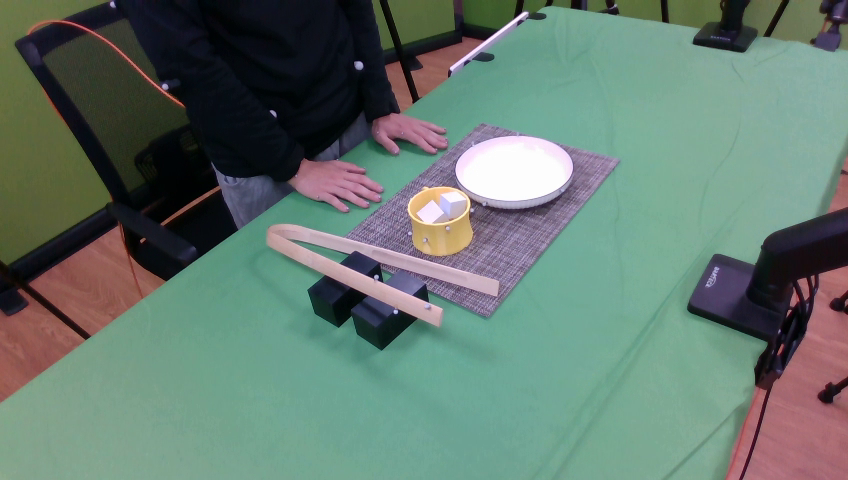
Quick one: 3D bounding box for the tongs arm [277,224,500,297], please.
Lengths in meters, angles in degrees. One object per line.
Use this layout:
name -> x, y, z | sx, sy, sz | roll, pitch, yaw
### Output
tongs arm -> -0.065, 0.028, 0.932 | 0.385, 0.028, 0.028 | 14, 23, 22

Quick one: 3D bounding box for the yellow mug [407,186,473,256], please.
yellow mug -> 0.021, -0.040, 0.973 | 0.100, 0.064, 0.129 | -19, 41, -12

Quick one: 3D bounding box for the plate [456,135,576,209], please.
plate -> 0.161, -0.116, 1.064 | 0.207, 0.039, 0.206 | -4, 40, 4

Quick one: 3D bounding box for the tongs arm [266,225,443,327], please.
tongs arm -> -0.112, 0.042, 0.865 | 0.381, 0.026, 0.051 | 19, 22, 35
